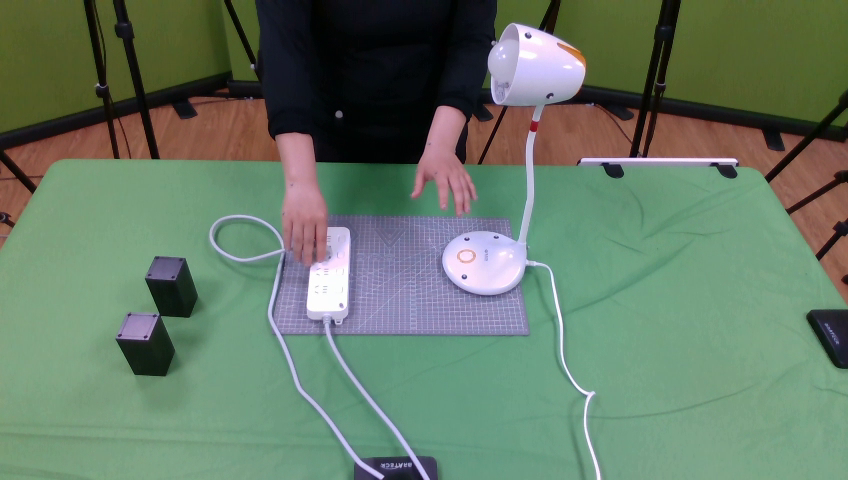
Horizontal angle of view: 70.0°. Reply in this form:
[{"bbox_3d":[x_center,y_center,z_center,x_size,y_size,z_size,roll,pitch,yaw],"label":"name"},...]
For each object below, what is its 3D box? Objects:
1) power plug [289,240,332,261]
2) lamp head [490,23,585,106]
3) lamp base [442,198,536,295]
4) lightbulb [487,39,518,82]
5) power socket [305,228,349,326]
[{"bbox_3d":[-0.207,0.022,1.124,0.072,0.053,0.035,5,45,8],"label":"power plug"},{"bbox_3d":[0.165,-0.241,0.872,0.123,0.113,0.111,9,43,-17],"label":"lamp head"},{"bbox_3d":[0.130,-0.012,1.105,0.179,0.181,0.159,-1,46,-9],"label":"lamp base"},{"bbox_3d":[0.143,-0.251,0.865,0.108,0.060,0.059,9,45,-7],"label":"lightbulb"},{"bbox_3d":[-0.176,0.059,1.115,0.072,0.033,0.225,-1,46,-4],"label":"power socket"}]
